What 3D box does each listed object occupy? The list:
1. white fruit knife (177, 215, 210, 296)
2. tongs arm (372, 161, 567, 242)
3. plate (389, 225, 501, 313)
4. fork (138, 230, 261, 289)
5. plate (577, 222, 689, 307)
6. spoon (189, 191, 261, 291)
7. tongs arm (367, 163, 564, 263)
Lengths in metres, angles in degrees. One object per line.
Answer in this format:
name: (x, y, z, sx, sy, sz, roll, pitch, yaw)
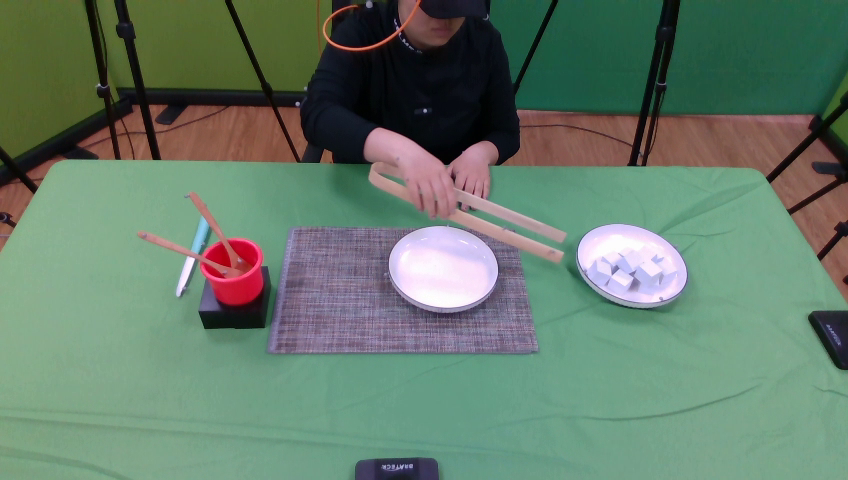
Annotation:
white fruit knife: (-0.435, 0.025, 1.148, 0.027, 0.016, 0.206, -17, 45, 18)
tongs arm: (0.084, -0.072, 1.139, 0.388, 0.028, 0.028, 21, 39, 0)
plate: (0.038, 0.057, 1.129, 0.208, 0.039, 0.206, 2, 46, -2)
fork: (-0.359, 0.032, 0.981, 0.208, 0.018, 0.028, 31, 60, -30)
plate: (0.396, 0.050, 1.165, 0.209, 0.038, 0.208, 2, 47, -2)
spoon: (-0.333, 0.001, 1.011, 0.041, 0.194, 0.021, -34, 15, -25)
tongs arm: (0.072, -0.051, 1.104, 0.385, 0.026, 0.050, 22, 36, 1)
